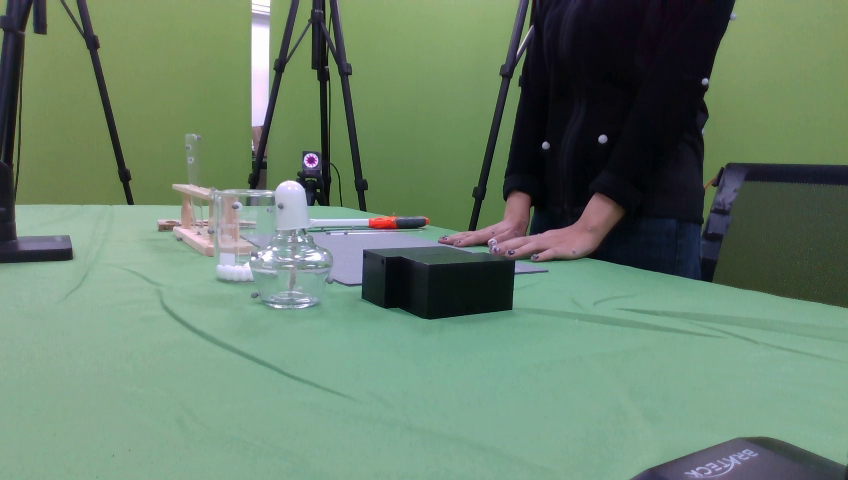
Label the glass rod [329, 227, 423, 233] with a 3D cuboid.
[{"bbox_3d":[-0.087,-0.019,1.148,0.201,0.008,0.008,-3,8,-32],"label":"glass rod"}]

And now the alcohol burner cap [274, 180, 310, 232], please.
[{"bbox_3d":[-0.125,-0.032,0.564,0.034,0.048,0.034,-5,6,1],"label":"alcohol burner cap"}]

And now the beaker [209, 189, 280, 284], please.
[{"bbox_3d":[-0.200,-0.006,0.677,0.084,0.100,0.074,3,7,8],"label":"beaker"}]

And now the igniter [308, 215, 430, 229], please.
[{"bbox_3d":[-0.109,-0.037,1.228,0.278,0.025,0.057,-3,-1,-35],"label":"igniter"}]

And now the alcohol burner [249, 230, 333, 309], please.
[{"bbox_3d":[-0.125,0.004,0.568,0.078,0.119,0.078,2,9,0],"label":"alcohol burner"}]

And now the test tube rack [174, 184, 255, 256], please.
[{"bbox_3d":[-0.327,-0.036,0.928,0.067,0.085,0.241,-2,9,-32],"label":"test tube rack"}]

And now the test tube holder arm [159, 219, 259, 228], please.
[{"bbox_3d":[-0.390,-0.030,1.107,0.179,0.015,0.013,-3,45,-39],"label":"test tube holder arm"}]

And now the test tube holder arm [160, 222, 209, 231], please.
[{"bbox_3d":[-0.423,-0.024,1.076,0.088,0.015,0.010,-3,44,-38],"label":"test tube holder arm"}]

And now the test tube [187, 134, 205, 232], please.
[{"bbox_3d":[-0.350,-0.087,0.928,0.017,0.150,0.017,-3,5,1],"label":"test tube"}]
